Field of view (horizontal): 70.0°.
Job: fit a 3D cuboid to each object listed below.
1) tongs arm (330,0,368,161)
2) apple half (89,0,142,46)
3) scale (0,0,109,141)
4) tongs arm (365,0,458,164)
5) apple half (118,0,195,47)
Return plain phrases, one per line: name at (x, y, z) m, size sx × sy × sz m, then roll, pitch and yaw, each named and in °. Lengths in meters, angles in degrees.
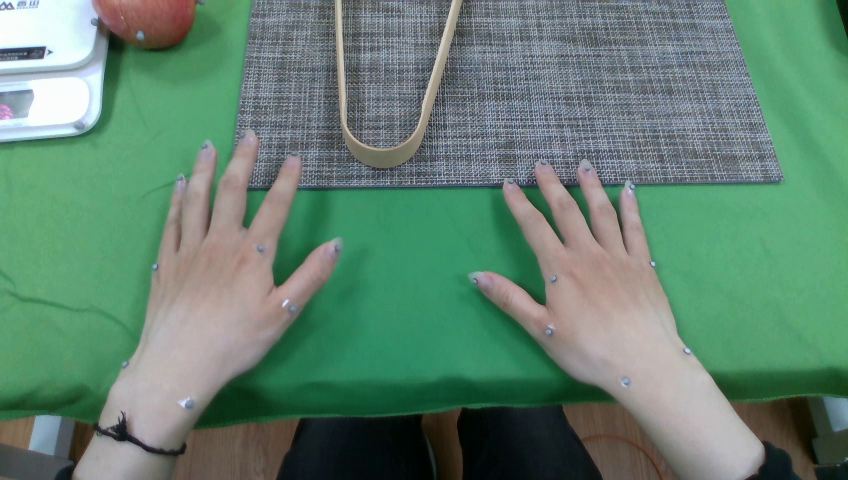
tongs arm at (-0.073, -0.240, 0.560) m, size 0.028 × 0.028 × 0.384 m, roll -2°, pitch 64°, yaw -7°
apple half at (-0.263, -0.202, 0.512) m, size 0.033 × 0.082 × 0.080 m, roll -9°, pitch 64°, yaw -10°
scale at (-0.349, -0.174, 0.519) m, size 0.149 × 0.032 × 0.199 m, roll -6°, pitch 65°, yaw -5°
tongs arm at (0.011, -0.233, 0.558) m, size 0.051 × 0.027 × 0.382 m, roll 10°, pitch 65°, yaw 2°
apple half at (-0.225, -0.209, 0.518) m, size 0.053 × 0.075 × 0.080 m, roll -9°, pitch 61°, yaw -9°
